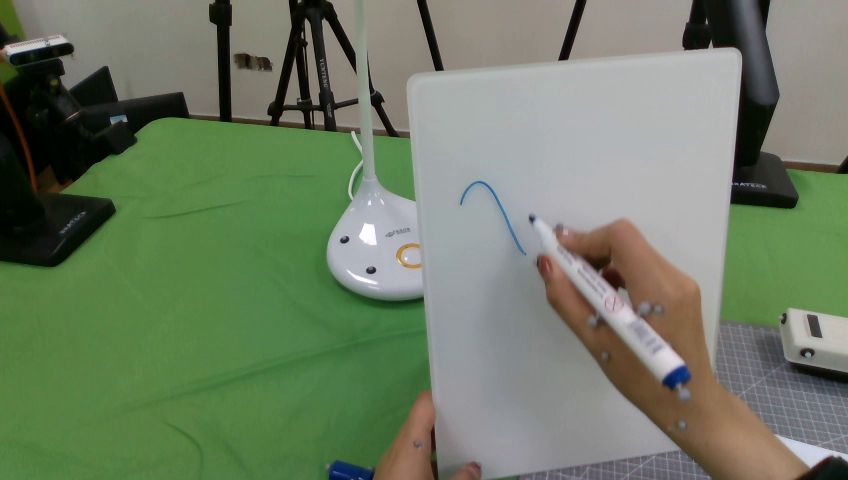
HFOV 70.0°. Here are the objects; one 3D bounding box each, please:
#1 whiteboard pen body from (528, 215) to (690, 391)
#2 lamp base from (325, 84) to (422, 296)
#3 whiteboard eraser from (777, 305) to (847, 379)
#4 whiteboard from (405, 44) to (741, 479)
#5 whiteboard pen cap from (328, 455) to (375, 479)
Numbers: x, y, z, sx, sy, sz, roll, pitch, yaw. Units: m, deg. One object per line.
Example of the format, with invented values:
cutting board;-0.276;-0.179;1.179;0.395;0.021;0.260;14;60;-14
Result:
whiteboard pen body;0.097;0.028;0.344;0.017;0.017;0.139;-17;47;-19
lamp base;-0.039;-0.060;0.634;0.161;0.182;0.177;-24;41;-27
whiteboard eraser;0.375;0.095;0.532;0.112;0.042;0.055;11;41;15
whiteboard;0.100;0.011;0.483;0.217;0.307;0.143;-6;19;-5
whiteboard pen cap;-0.055;0.176;0.463;0.033;0.018;0.018;8;39;13
